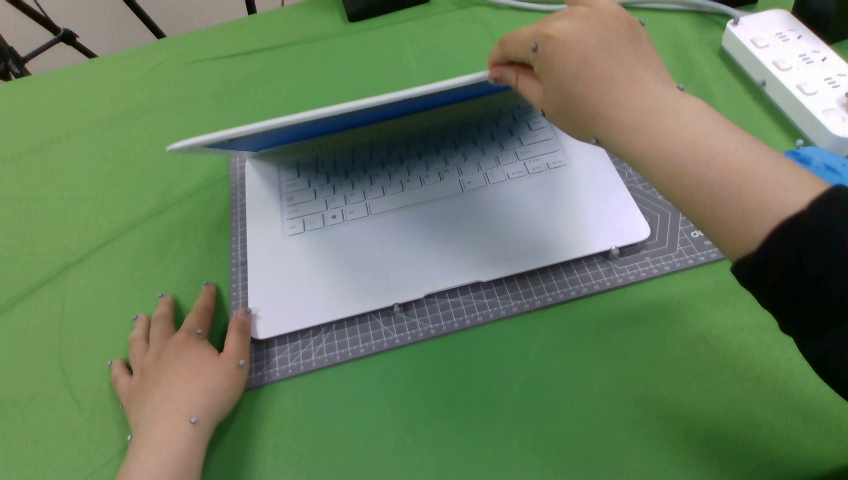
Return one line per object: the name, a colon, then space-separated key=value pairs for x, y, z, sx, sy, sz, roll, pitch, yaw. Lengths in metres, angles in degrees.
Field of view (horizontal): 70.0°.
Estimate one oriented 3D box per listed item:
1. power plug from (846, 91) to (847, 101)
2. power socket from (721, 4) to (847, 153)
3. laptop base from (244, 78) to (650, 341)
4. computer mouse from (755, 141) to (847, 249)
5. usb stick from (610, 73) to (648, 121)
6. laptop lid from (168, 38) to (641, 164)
power plug: x=0.415 y=-0.131 z=0.536 sx=0.072 sy=0.053 sz=0.035 roll=-5 pitch=52 yaw=6
power socket: x=0.377 y=-0.165 z=0.600 sx=0.072 sy=0.033 sz=0.224 roll=-14 pitch=49 yaw=1
laptop base: x=0.002 y=-0.041 z=0.585 sx=0.354 sy=0.023 sz=0.233 roll=-15 pitch=53 yaw=-1
computer mouse: x=0.338 y=-0.045 z=0.505 sx=0.063 sy=0.041 sz=0.116 roll=-20 pitch=45 yaw=-3
usb stick: x=0.208 y=-0.151 z=0.625 sx=0.021 sy=0.027 sz=0.058 roll=-17 pitch=48 yaw=1
laptop lid: x=-0.019 y=-0.118 z=0.538 sx=0.357 sy=0.013 sz=0.240 roll=-14 pitch=10 yaw=1
